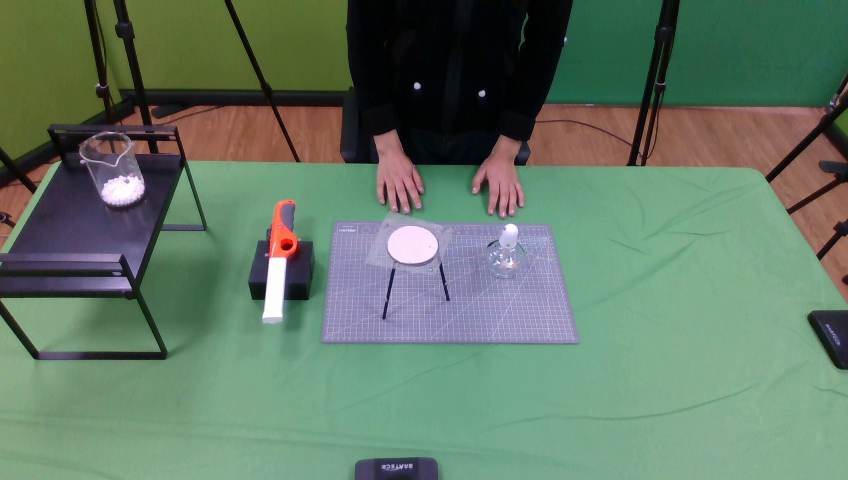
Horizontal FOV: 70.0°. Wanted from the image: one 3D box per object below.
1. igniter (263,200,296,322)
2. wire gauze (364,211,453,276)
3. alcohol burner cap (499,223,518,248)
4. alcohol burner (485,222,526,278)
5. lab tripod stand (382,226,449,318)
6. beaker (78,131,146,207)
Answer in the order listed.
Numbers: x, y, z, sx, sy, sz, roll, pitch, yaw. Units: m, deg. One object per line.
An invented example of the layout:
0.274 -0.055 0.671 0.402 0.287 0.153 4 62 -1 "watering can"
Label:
-0.260 0.027 1.083 0.057 0.025 0.274 0 49 -8 "igniter"
-0.024 0.006 1.016 0.121 0.011 0.124 14 48 9 "wire gauze"
0.156 -0.010 1.102 0.034 0.048 0.033 1 53 -1 "alcohol burner cap"
0.154 0.014 1.129 0.078 0.119 0.077 3 44 -2 "alcohol burner"
-0.024 0.055 1.062 0.148 0.132 0.147 2 48 -3 "lab tripod stand"
-0.488 -0.108 0.961 0.074 0.101 0.083 -25 54 -25 "beaker"
